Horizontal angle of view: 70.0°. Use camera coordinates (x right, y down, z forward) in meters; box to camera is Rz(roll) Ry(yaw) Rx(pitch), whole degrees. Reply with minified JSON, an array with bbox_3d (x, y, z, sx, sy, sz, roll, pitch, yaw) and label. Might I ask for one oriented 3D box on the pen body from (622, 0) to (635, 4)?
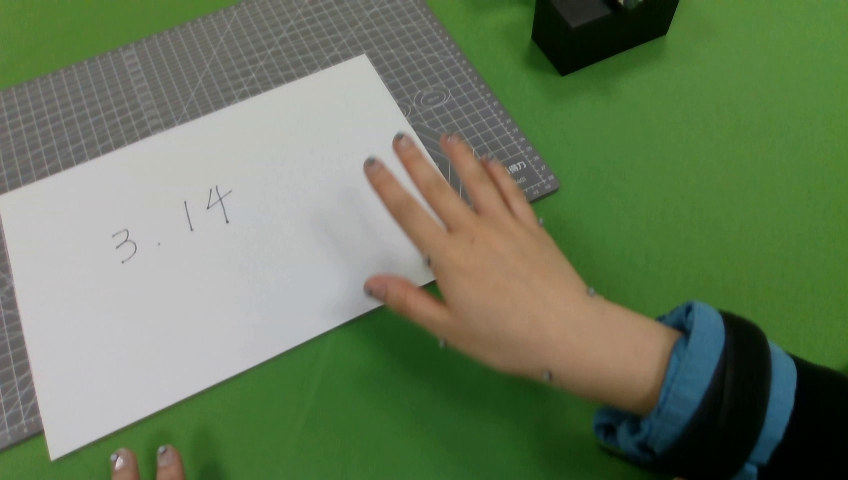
[{"bbox_3d":[0.119,-0.231,0.469,0.017,0.017,0.143,-26,65,-11],"label":"pen body"}]
